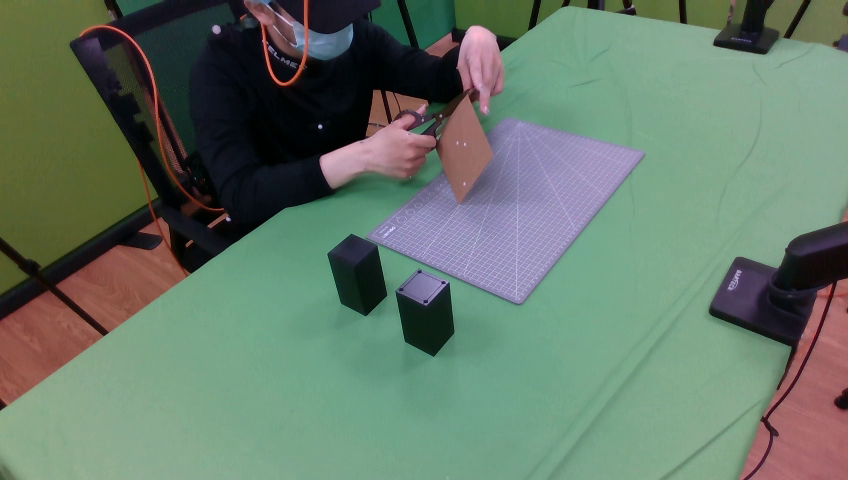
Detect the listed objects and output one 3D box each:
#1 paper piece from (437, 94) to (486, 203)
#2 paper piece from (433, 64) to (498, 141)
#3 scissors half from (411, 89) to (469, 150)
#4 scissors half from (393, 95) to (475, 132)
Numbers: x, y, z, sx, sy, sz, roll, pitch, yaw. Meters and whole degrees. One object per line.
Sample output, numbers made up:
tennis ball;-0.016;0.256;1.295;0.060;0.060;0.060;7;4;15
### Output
paper piece;0.061;-0.154;1.023;0.004;0.135;0.135;-4;60;-23
paper piece;0.076;-0.247;1.105;0.008;0.135;0.138;41;46;-3
scissors half;0.030;-0.209;1.058;0.040;0.174;0.013;33;51;-11
scissors half;0.014;-0.223;1.049;0.174;0.040;0.013;-10;45;34
